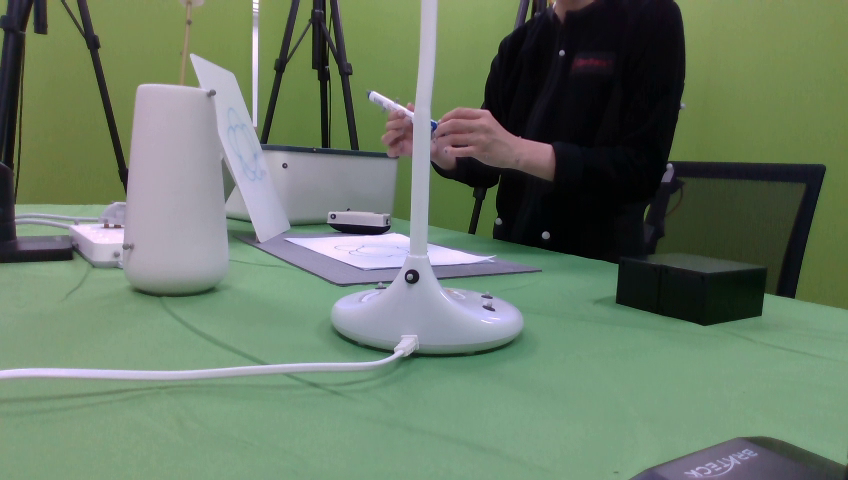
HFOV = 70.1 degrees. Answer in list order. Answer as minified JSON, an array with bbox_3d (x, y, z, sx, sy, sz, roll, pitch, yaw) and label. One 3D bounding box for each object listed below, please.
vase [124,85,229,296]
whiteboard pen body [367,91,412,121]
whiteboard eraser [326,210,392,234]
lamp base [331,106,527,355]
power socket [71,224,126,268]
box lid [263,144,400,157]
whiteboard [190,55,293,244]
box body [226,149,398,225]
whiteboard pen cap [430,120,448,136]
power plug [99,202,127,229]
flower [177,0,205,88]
[{"bbox_3d":[-0.244,-0.047,0.598,0.098,0.200,0.098,3,8,0],"label":"vase"},{"bbox_3d":[-0.039,-0.208,0.967,0.140,0.017,0.017,33,23,29],"label":"whiteboard pen body"},{"bbox_3d":[-0.121,-0.033,1.131,0.112,0.042,0.056,4,8,13],"label":"whiteboard eraser"},{"bbox_3d":[0.006,-0.012,0.478,0.161,0.180,0.179,2,10,2],"label":"lamp base"},{"bbox_3d":[-0.409,0.004,0.793,0.072,0.032,0.225,-2,8,-37],"label":"power socket"},{"bbox_3d":[-0.263,-0.203,1.369,0.262,0.015,0.373,9,10,39],"label":"box lid"},{"bbox_3d":[-0.362,-0.129,1.029,0.144,0.305,0.217,-18,7,3],"label":"whiteboard"},{"bbox_3d":[-0.265,-0.129,1.380,0.253,0.160,0.366,8,9,39],"label":"box body"},{"bbox_3d":[0.020,-0.173,0.931,0.033,0.018,0.018,28,20,30],"label":"whiteboard pen cap"},{"bbox_3d":[-0.415,-0.026,0.848,0.073,0.052,0.035,6,5,-28],"label":"power plug"},{"bbox_3d":[-0.243,-0.131,0.609,0.044,0.361,0.038,-5,-12,11],"label":"flower"}]
